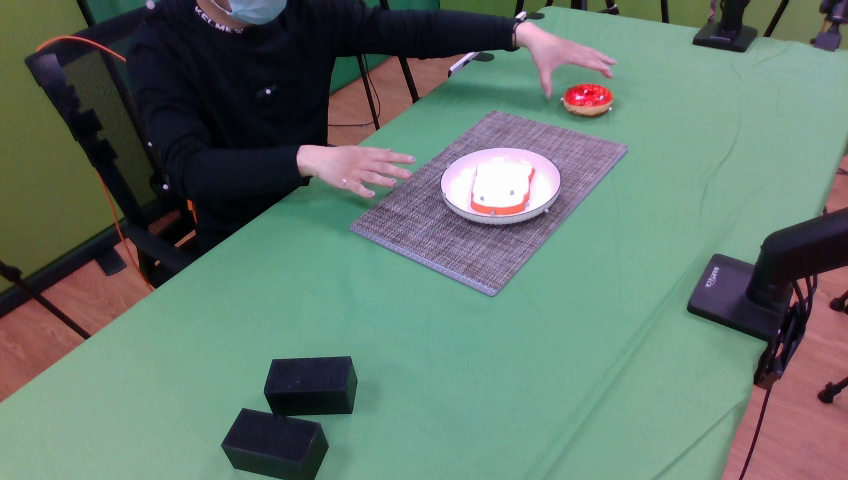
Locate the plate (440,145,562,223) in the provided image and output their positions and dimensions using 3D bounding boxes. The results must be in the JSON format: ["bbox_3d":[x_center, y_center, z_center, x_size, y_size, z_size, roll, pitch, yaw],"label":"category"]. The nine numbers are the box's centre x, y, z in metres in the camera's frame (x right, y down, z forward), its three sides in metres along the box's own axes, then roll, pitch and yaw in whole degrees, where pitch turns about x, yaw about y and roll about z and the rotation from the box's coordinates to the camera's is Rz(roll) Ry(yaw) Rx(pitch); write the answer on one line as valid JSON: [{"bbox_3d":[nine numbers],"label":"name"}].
[{"bbox_3d":[0.131,-0.093,1.040,0.207,0.039,0.206,-4,41,4],"label":"plate"}]

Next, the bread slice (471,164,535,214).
[{"bbox_3d":[0.134,-0.090,1.038,0.104,0.019,0.131,3,41,13],"label":"bread slice"}]

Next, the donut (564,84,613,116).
[{"bbox_3d":[0.337,-0.288,1.239,0.099,0.048,0.098,-3,38,3],"label":"donut"}]
